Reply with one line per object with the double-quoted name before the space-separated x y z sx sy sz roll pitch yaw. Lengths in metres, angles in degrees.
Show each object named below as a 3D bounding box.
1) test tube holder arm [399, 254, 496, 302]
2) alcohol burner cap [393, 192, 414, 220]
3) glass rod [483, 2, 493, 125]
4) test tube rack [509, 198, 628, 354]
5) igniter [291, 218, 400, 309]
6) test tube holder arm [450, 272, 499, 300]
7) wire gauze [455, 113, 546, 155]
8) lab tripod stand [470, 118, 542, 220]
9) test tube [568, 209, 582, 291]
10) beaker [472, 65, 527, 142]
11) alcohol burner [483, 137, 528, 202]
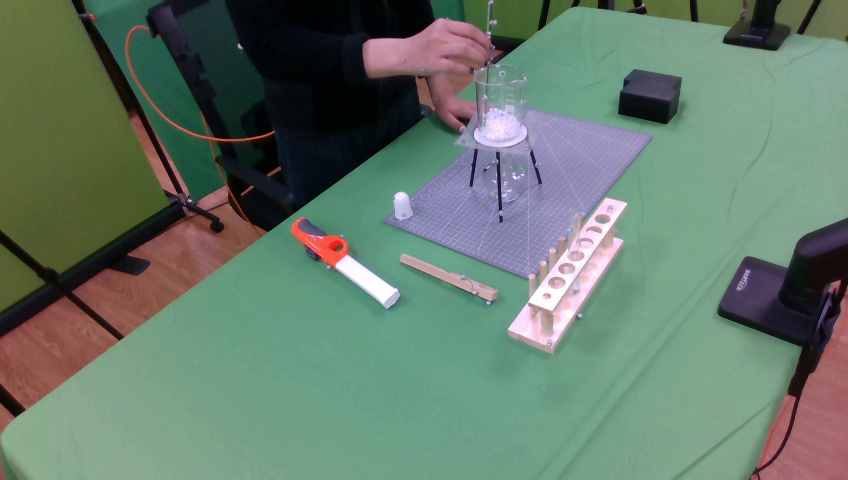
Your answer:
"test tube holder arm" 0.032 0.055 0.914 0.177 0.015 0.013 21 15 32
"alcohol burner cap" -0.038 -0.061 1.043 0.034 0.048 0.033 -5 40 5
"glass rod" 0.098 -0.262 0.920 0.008 0.200 0.008 -1 42 1
"test tube rack" 0.206 0.039 0.850 0.066 0.085 0.243 20 48 31
"igniter" -0.136 0.031 0.970 0.057 0.025 0.274 -41 49 -19
"test tube holder arm" 0.071 0.068 0.894 0.087 0.015 0.010 21 15 33
"wire gauze" 0.124 -0.175 0.973 0.124 0.011 0.121 8 39 21
"lab tripod stand" 0.135 -0.128 1.019 0.148 0.132 0.147 -5 38 5
"test tube" 0.200 0.018 0.799 0.017 0.151 0.017 -8 45 8
"beaker" 0.120 -0.211 0.942 0.083 0.101 0.074 10 42 21
"alcohol burner" 0.138 -0.125 1.030 0.078 0.119 0.077 -4 41 4
